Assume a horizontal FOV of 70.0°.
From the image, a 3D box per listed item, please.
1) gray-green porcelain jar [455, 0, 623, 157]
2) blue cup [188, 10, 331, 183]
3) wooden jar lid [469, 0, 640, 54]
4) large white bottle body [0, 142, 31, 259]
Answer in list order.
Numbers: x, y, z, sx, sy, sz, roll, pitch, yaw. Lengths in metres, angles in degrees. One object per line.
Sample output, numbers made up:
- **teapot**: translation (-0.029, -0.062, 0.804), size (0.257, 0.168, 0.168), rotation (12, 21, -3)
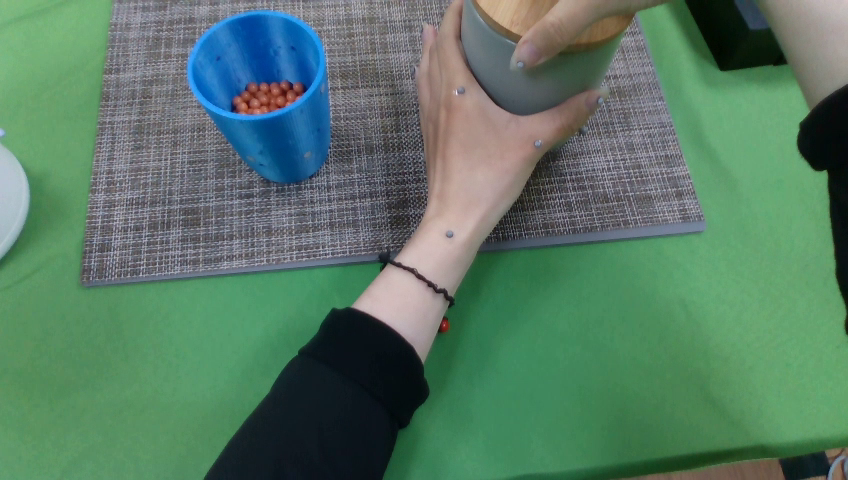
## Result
- **gray-green porcelain jar**: translation (0.076, -0.129, 0.432), size (0.106, 0.127, 0.105), rotation (1, 65, -1)
- **blue cup**: translation (-0.103, -0.089, 0.420), size (0.092, 0.101, 0.092), rotation (0, 67, 0)
- **wooden jar lid**: translation (0.078, -0.155, 0.376), size (0.108, 0.021, 0.107), rotation (2, 65, -3)
- **large white bottle body**: translation (-0.344, -0.055, 0.352), size (0.131, 0.186, 0.129), rotation (1, 66, -2)
